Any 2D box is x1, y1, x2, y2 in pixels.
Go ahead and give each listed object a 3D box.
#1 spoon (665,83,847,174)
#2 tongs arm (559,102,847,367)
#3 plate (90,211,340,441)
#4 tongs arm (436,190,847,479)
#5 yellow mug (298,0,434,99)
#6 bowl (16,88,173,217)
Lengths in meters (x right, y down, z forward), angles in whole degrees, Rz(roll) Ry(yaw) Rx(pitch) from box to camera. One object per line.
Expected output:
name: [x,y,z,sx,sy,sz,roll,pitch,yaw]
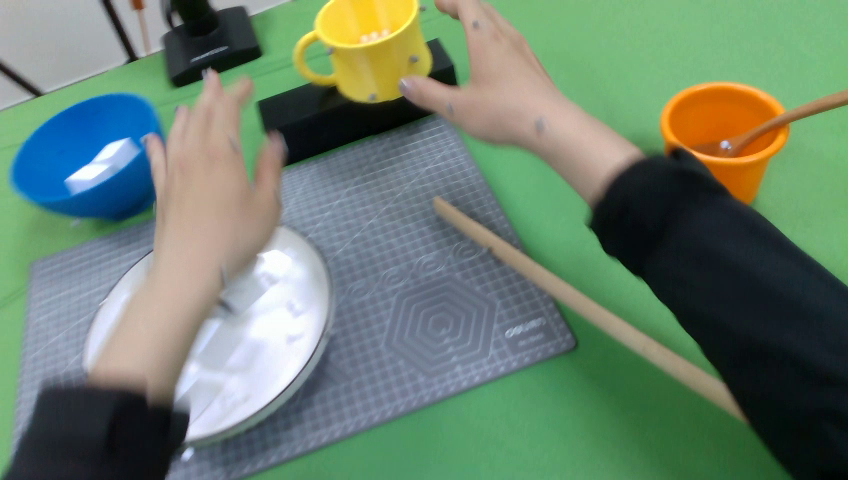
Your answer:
spoon: [0.265,-0.089,0.452,0.022,0.193,0.041,38,61,-15]
tongs arm: [0.213,0.009,0.465,0.051,0.027,0.380,-32,55,-12]
plate: [-0.167,0.067,0.502,0.207,0.039,0.205,-6,53,9]
tongs arm: [0.149,0.056,0.447,0.384,0.028,0.028,35,64,30]
yellow mug: [-0.060,-0.191,0.593,0.131,0.064,0.099,-17,51,0]
bowl: [-0.320,-0.076,0.624,0.151,0.077,0.150,-7,53,9]
